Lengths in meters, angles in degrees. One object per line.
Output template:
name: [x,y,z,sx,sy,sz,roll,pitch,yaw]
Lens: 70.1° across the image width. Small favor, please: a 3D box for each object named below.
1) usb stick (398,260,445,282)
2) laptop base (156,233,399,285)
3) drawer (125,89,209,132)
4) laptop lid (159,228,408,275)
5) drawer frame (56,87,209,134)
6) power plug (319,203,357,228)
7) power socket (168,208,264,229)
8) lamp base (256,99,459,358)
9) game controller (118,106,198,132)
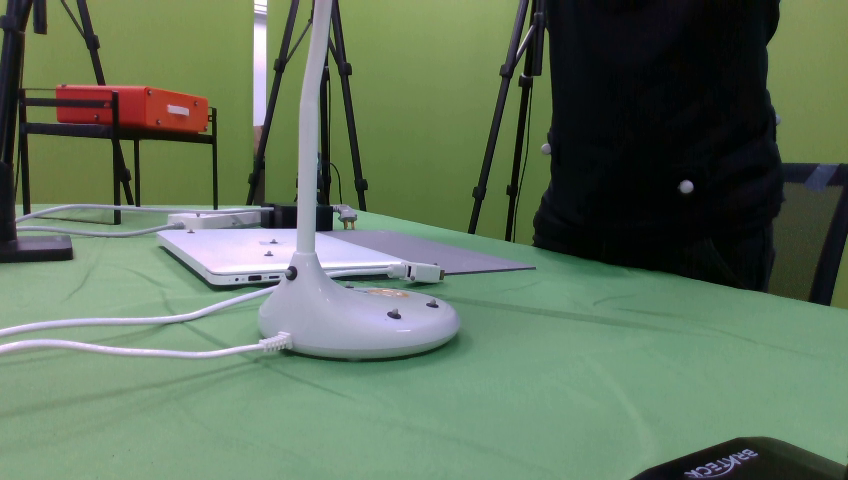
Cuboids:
usb stick: [-0.001,0.036,0.696,0.027,0.021,0.059,7,0,43]
laptop base: [-0.204,0.019,0.806,0.237,0.023,0.352,0,7,-33]
drawer: [-0.595,-0.268,1.263,0.211,0.073,0.195,3,8,15]
laptop lid: [-0.201,0.007,0.806,0.243,0.013,0.355,-1,8,-31]
drawer frame: [-0.598,-0.269,1.261,0.213,0.082,0.202,4,8,14]
power plug: [-0.170,-0.046,1.210,0.073,0.052,0.035,-6,-16,-7]
power socket: [-0.381,-0.038,1.128,0.072,0.032,0.227,4,8,16]
lamp base: [-0.055,-0.013,0.463,0.160,0.180,0.180,6,11,27]
game controller: [-0.554,-0.252,1.254,0.097,0.051,0.155,7,11,19]
